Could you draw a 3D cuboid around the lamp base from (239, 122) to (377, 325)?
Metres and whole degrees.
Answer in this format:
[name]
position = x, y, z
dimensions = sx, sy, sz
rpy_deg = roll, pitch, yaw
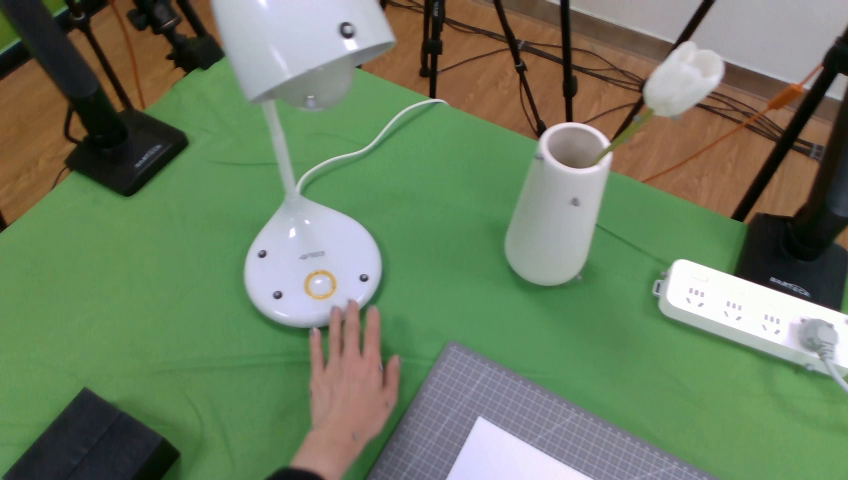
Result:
[lamp base]
position = -0.140, -0.025, 0.660
dimensions = 0.161, 0.182, 0.177
rpy_deg = -22, 56, -16

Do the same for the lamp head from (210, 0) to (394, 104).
[lamp head]
position = -0.094, -0.165, 0.406
dimensions = 0.112, 0.112, 0.123
rpy_deg = -29, 99, -20

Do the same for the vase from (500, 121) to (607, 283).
[vase]
position = 0.140, -0.037, 0.666
dimensions = 0.098, 0.202, 0.097
rpy_deg = 0, 55, 0

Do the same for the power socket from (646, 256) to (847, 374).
[power socket]
position = 0.372, 0.084, 0.693
dimensions = 0.226, 0.033, 0.072
rpy_deg = 21, 58, 11

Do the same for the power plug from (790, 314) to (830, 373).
[power plug]
position = 0.407, 0.110, 0.649
dimensions = 0.035, 0.053, 0.072
rpy_deg = 30, 66, 18

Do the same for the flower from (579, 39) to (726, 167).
[flower]
position = 0.155, -0.069, 0.590
dimensions = 0.044, 0.362, 0.038
rpy_deg = -10, 73, -18
